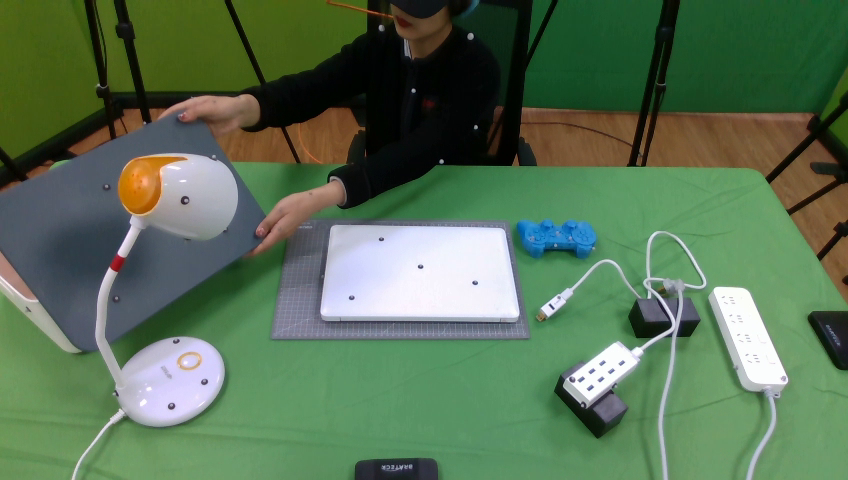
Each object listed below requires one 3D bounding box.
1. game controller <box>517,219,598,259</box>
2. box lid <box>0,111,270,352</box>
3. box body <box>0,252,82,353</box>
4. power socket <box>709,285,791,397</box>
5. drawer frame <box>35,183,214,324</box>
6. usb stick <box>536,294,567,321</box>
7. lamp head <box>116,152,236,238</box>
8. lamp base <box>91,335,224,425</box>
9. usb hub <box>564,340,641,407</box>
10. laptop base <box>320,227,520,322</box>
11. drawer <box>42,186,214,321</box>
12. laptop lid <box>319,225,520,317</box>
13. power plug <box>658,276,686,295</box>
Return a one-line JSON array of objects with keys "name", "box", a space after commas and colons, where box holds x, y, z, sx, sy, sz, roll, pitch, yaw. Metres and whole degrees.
[{"name": "game controller", "box": [0.269, -0.012, 1.210, 0.155, 0.052, 0.096, 1, 50, -2]}, {"name": "box lid", "box": [-0.446, -0.028, 0.968, 0.371, 0.264, 0.015, -40, 17, -36]}, {"name": "box body", "box": [-0.550, -0.006, 1.068, 0.253, 0.161, 0.363, 30, 51, 23]}, {"name": "power socket", "box": [0.567, 0.167, 1.064, 0.072, 0.033, 0.225, 2, 46, 0]}, {"name": "drawer frame", "box": [-0.531, 0.017, 1.091, 0.201, 0.083, 0.213, 28, 53, 22]}, {"name": "usb stick", "box": [0.226, 0.123, 1.083, 0.059, 0.027, 0.021, -38, 75, -8]}, {"name": "lamp head", "box": [-0.315, -0.057, 0.747, 0.112, 0.112, 0.123, 26, 10, 20]}, {"name": "lamp base", "box": [-0.401, 0.171, 0.892, 0.160, 0.181, 0.179, 30, 53, 23]}, {"name": "usb hub", "box": [0.278, 0.205, 0.944, 0.125, 0.025, 0.049, -27, 52, -28]}, {"name": "laptop base", "box": [-0.009, 0.062, 1.138, 0.354, 0.023, 0.234, 0, 42, -3]}, {"name": "drawer", "box": [-0.529, 0.019, 1.097, 0.194, 0.073, 0.211, 29, 53, 20]}, {"name": "laptop lid", "box": [-0.008, 0.052, 1.131, 0.357, 0.013, 0.240, 2, 43, -2]}, {"name": "power plug", "box": [0.450, 0.087, 1.113, 0.073, 0.052, 0.035, -12, 71, -54]}]
